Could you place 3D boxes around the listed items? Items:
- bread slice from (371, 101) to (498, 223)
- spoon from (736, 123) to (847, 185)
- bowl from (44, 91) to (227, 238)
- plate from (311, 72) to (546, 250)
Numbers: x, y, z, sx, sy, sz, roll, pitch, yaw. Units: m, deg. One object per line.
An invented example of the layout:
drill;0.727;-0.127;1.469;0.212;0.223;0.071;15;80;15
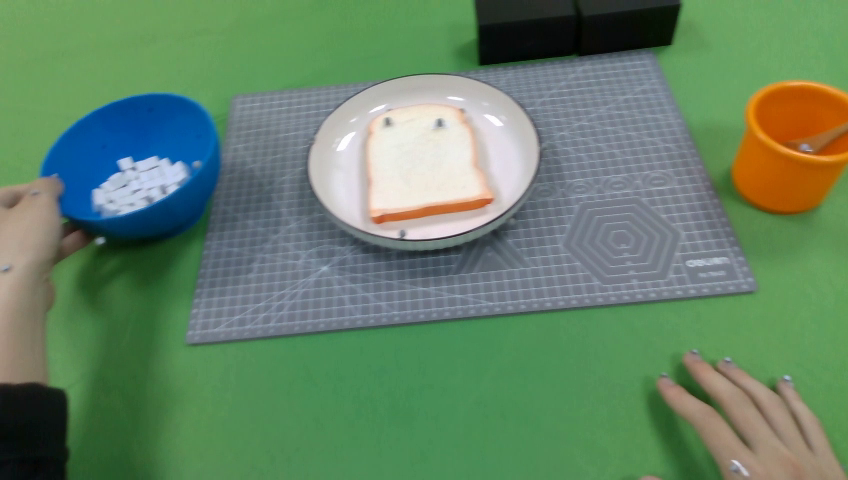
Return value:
bread slice;0.000;-0.075;0.555;0.107;0.018;0.133;-11;55;-1
spoon;0.337;-0.088;0.459;0.022;0.193;0.041;31;53;-26
bowl;-0.242;-0.055;0.543;0.151;0.077;0.150;-3;54;4
plate;0.003;-0.072;0.550;0.209;0.038;0.207;-3;54;5
